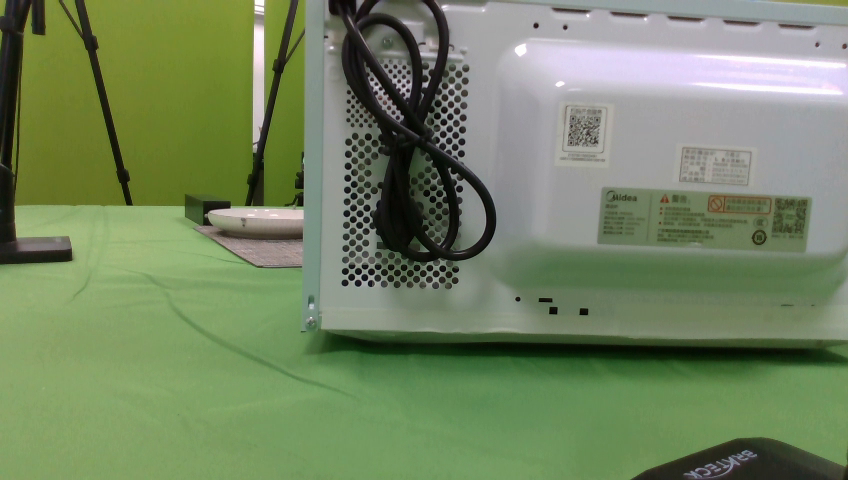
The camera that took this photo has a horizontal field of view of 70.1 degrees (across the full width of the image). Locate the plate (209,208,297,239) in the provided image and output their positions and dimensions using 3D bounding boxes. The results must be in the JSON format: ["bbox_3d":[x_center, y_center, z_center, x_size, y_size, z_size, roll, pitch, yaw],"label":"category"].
[{"bbox_3d":[-0.271,-0.029,1.074,0.208,0.039,0.207,3,7,0],"label":"plate"}]

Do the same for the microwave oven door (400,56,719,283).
[{"bbox_3d":[0.155,-0.077,0.698,0.356,0.243,0.039,2,8,-5],"label":"microwave oven door"}]

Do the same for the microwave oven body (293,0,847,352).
[{"bbox_3d":[0.122,-0.055,0.550,0.442,0.260,0.325,3,7,-5],"label":"microwave oven body"}]

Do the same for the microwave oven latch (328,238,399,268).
[{"bbox_3d":[-0.069,0.015,0.694,0.079,0.029,0.030,3,7,-3],"label":"microwave oven latch"}]
